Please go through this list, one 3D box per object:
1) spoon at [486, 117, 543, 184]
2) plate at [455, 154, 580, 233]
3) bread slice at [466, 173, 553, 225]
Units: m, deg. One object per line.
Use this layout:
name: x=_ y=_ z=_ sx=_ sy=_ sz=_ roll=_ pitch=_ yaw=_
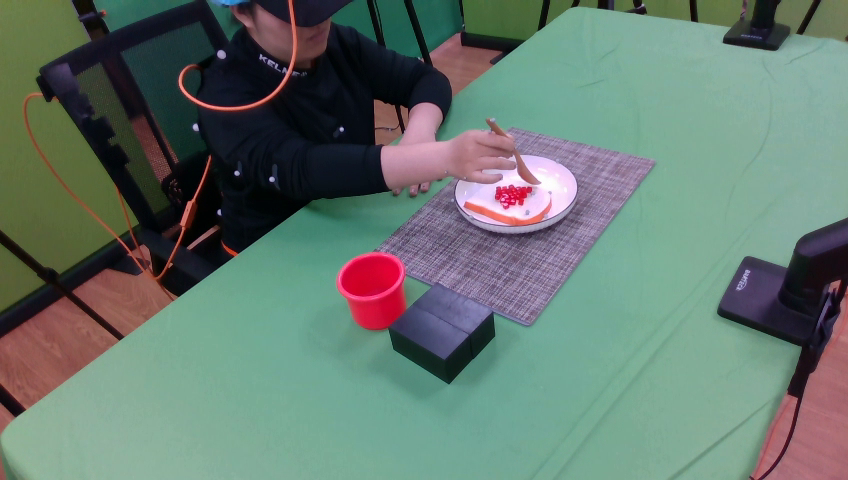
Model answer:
spoon: x=0.142 y=-0.138 z=0.951 sx=0.041 sy=0.195 sz=0.021 roll=32 pitch=82 yaw=42
plate: x=0.159 y=-0.076 z=1.028 sx=0.209 sy=0.038 sz=0.208 roll=-5 pitch=40 yaw=5
bread slice: x=0.152 y=-0.068 z=1.022 sx=0.130 sy=0.019 sz=0.105 roll=23 pitch=50 yaw=33
